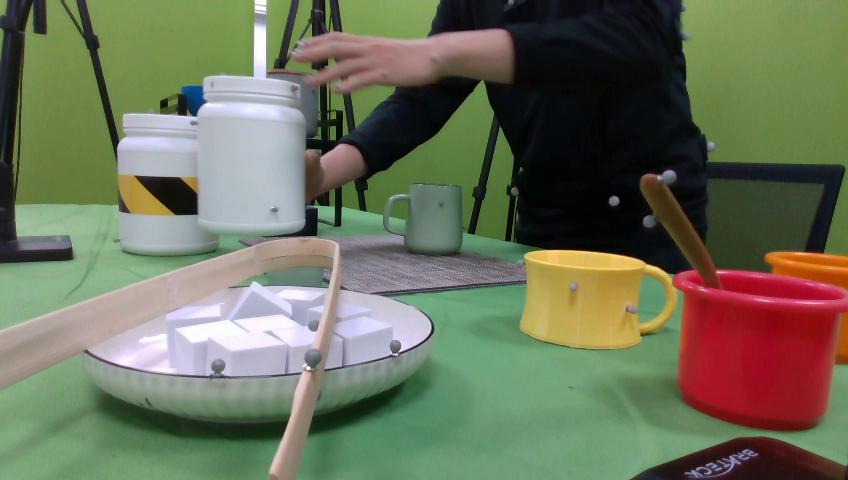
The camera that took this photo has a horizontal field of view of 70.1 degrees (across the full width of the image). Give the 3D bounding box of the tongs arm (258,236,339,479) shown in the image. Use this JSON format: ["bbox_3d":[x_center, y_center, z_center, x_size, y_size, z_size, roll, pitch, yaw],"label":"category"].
[{"bbox_3d":[-0.074,0.040,0.345,0.051,0.026,0.384,-1,9,-3],"label":"tongs arm"}]

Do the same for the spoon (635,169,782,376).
[{"bbox_3d":[0.161,0.026,0.346,0.041,0.194,0.021,10,56,53],"label":"spoon"}]

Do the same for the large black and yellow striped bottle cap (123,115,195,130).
[{"bbox_3d":[-0.353,-0.159,0.837,0.115,0.019,0.115,2,6,0],"label":"large black and yellow striped bottle cap"}]

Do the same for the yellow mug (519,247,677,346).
[{"bbox_3d":[0.148,0.045,0.513,0.131,0.064,0.100,3,7,0],"label":"yellow mug"}]

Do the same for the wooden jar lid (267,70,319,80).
[{"bbox_3d":[-0.275,-0.340,1.271,0.108,0.020,0.108,5,6,0],"label":"wooden jar lid"}]

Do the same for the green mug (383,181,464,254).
[{"bbox_3d":[0.000,-0.035,0.921,0.126,0.105,0.092,0,8,-15],"label":"green mug"}]

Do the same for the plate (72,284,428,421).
[{"bbox_3d":[-0.102,0.066,0.381,0.208,0.039,0.207,3,7,0],"label":"plate"}]

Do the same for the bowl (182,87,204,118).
[{"bbox_3d":[-0.383,-0.244,1.158,0.151,0.077,0.151,2,7,0],"label":"bowl"}]

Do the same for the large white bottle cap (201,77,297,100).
[{"bbox_3d":[-0.216,-0.187,0.751,0.115,0.018,0.115,3,8,0],"label":"large white bottle cap"}]

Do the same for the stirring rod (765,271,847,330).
[{"bbox_3d":[0.352,0.020,0.481,0.176,0.006,0.014,-40,-7,17],"label":"stirring rod"}]

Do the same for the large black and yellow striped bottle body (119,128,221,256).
[{"bbox_3d":[-0.355,-0.076,0.850,0.131,0.184,0.130,2,8,0],"label":"large black and yellow striped bottle body"}]

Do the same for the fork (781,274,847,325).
[{"bbox_3d":[0.332,0.018,0.443,0.028,0.018,0.207,-3,-35,-16],"label":"fork"}]

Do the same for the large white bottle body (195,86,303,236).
[{"bbox_3d":[-0.219,-0.103,0.763,0.131,0.184,0.130,2,9,0],"label":"large white bottle body"}]

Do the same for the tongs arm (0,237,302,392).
[{"bbox_3d":[-0.157,0.038,0.347,0.028,0.028,0.388,-3,8,11],"label":"tongs arm"}]

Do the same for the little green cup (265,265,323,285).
[{"bbox_3d":[-0.134,0.033,0.627,0.061,0.038,0.061,3,7,0],"label":"little green cup"}]

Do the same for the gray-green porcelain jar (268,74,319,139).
[{"bbox_3d":[-0.277,-0.279,1.280,0.106,0.126,0.106,2,8,0],"label":"gray-green porcelain jar"}]
